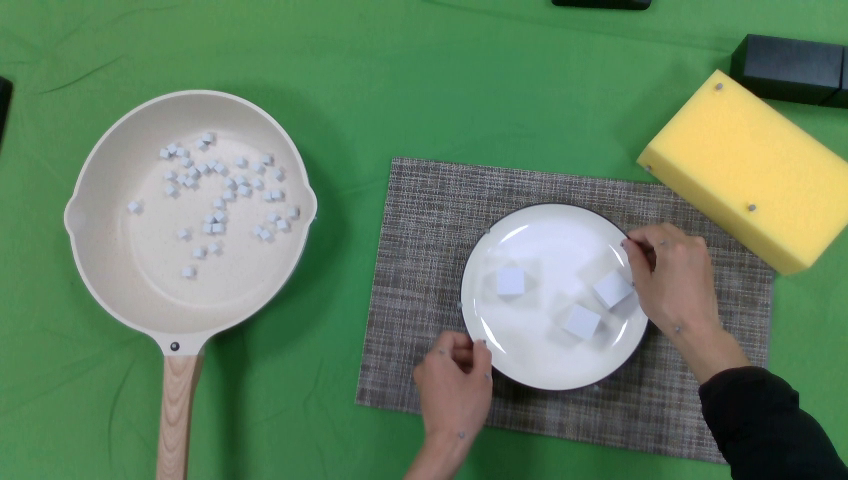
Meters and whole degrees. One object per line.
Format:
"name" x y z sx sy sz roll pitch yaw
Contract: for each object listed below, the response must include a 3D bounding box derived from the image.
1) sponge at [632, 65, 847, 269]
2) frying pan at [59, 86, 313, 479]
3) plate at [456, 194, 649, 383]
"sponge" 0.355 -0.080 0.669 0.206 0.061 0.118 41 86 11
"frying pan" -0.276 0.064 0.699 0.306 0.103 0.485 -1 74 7
"plate" 0.141 0.054 0.678 0.207 0.039 0.207 -1 83 5
